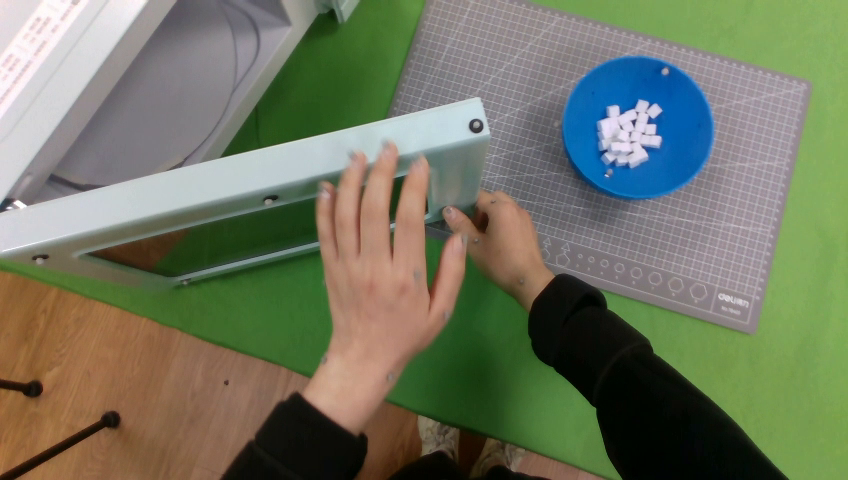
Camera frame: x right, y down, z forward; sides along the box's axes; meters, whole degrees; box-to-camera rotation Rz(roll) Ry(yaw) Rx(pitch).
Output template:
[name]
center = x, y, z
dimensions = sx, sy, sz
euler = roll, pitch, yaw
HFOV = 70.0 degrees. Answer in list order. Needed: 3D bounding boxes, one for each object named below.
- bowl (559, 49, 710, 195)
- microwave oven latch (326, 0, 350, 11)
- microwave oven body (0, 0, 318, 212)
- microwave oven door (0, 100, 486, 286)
[bowl]
center = 0.211, -0.113, 0.640
dimensions = 0.151, 0.077, 0.151
euler = 0, 81, 1
[microwave oven latch]
center = -0.082, -0.300, 0.679
dimensions = 0.030, 0.029, 0.079
euler = 32, 84, 5
[microwave oven body]
center = -0.304, -0.242, 0.576
dimensions = 0.325, 0.261, 0.441
euler = 31, 83, 5
[microwave oven door]
center = -0.126, -0.029, 0.535
dimensions = 0.356, 0.244, 0.039
euler = -14, 80, -1
